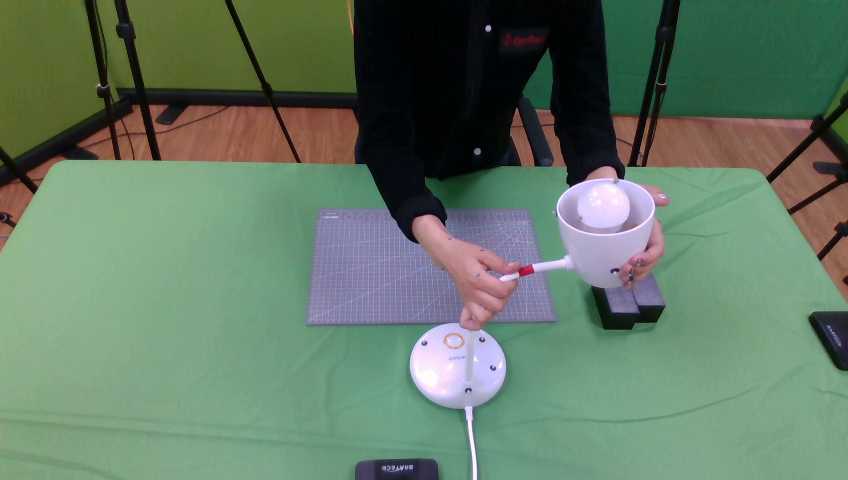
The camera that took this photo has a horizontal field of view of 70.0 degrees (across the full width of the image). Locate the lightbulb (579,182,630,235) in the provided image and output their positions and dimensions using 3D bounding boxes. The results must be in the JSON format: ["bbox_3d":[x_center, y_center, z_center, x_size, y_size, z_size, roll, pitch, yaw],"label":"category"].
[{"bbox_3d":[0.221,-0.021,0.739,0.059,0.108,0.059,-10,35,7],"label":"lightbulb"}]

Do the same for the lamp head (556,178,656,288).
[{"bbox_3d":[0.220,0.002,0.751,0.112,0.123,0.111,-4,40,3],"label":"lamp head"}]

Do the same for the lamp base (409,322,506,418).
[{"bbox_3d":[0.060,0.161,0.937,0.161,0.181,0.178,-12,51,-11],"label":"lamp base"}]
